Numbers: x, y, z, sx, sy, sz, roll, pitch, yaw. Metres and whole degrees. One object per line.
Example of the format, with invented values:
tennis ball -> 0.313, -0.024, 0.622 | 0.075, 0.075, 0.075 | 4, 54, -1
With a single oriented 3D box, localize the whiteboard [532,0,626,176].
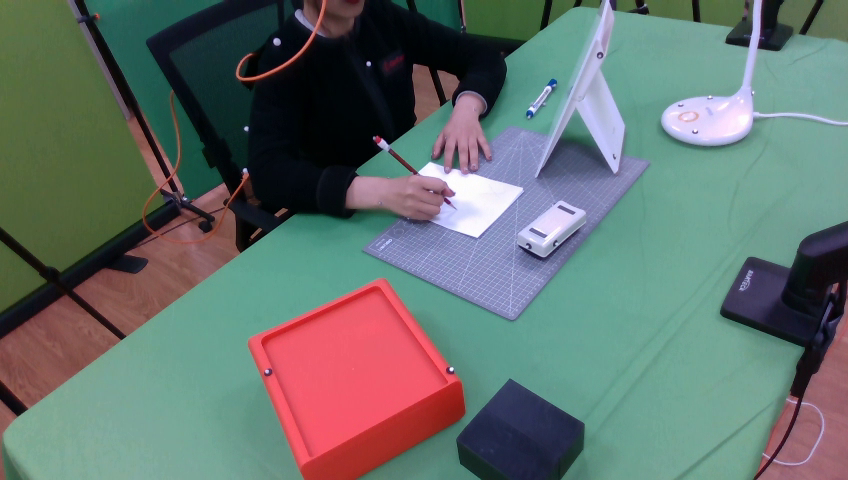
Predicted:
whiteboard -> 0.321, -0.258, 1.050 | 0.144, 0.306, 0.217 | 22, 45, 5

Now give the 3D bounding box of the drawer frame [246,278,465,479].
drawer frame -> -0.088, 0.168, 0.752 | 0.202, 0.083, 0.211 | -24, 43, -18

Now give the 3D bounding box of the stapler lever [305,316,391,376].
stapler lever -> -0.099, 0.137, 0.789 | 0.118, 0.040, 0.026 | -22, 45, -12

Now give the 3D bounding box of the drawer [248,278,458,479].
drawer -> -0.092, 0.168, 0.756 | 0.195, 0.073, 0.210 | -24, 43, -18

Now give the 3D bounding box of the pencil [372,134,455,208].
pencil -> -0.012, -0.110, 0.999 | 0.012, 0.195, 0.012 | -35, 31, 26

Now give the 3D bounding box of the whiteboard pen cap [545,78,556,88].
whiteboard pen cap -> 0.280, -0.344, 1.335 | 0.018, 0.018, 0.033 | 15, 45, 26

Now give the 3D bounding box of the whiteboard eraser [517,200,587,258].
whiteboard eraser -> 0.200, -0.016, 0.943 | 0.113, 0.042, 0.055 | -37, 46, -29

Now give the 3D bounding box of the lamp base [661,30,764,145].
lamp base -> 0.535, -0.287, 1.096 | 0.179, 0.181, 0.159 | -10, 40, -4

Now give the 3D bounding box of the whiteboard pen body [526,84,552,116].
whiteboard pen body -> 0.251, -0.305, 1.298 | 0.017, 0.017, 0.141 | 15, 45, 26

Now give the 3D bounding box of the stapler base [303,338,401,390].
stapler base -> -0.096, 0.159, 0.812 | 0.131, 0.024, 0.041 | -17, 44, -17
